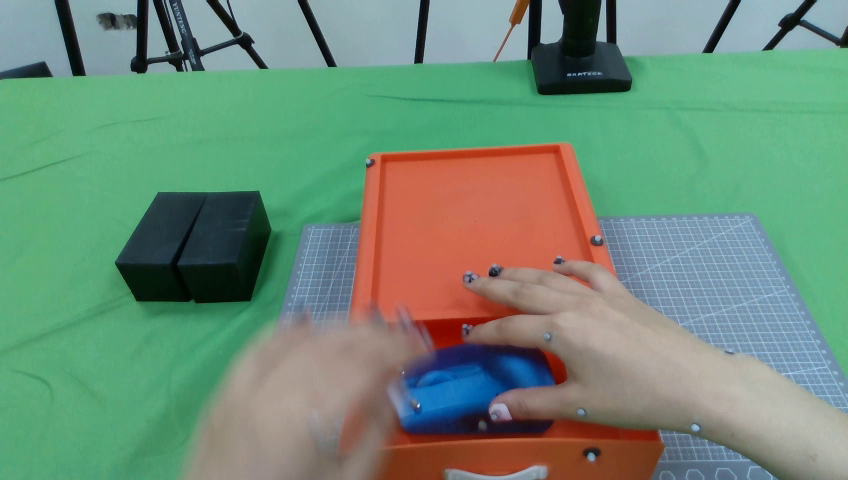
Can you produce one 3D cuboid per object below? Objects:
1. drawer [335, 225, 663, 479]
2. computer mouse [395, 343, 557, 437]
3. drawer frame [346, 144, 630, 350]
[{"bbox_3d":[0.045,0.080,0.449,0.194,0.074,0.209,-3,43,2],"label":"drawer"},{"bbox_3d":[0.037,0.108,0.440,0.117,0.041,0.062,-4,45,7],"label":"computer mouse"},{"bbox_3d":[0.045,0.014,0.519,0.202,0.083,0.211,-4,42,1],"label":"drawer frame"}]
